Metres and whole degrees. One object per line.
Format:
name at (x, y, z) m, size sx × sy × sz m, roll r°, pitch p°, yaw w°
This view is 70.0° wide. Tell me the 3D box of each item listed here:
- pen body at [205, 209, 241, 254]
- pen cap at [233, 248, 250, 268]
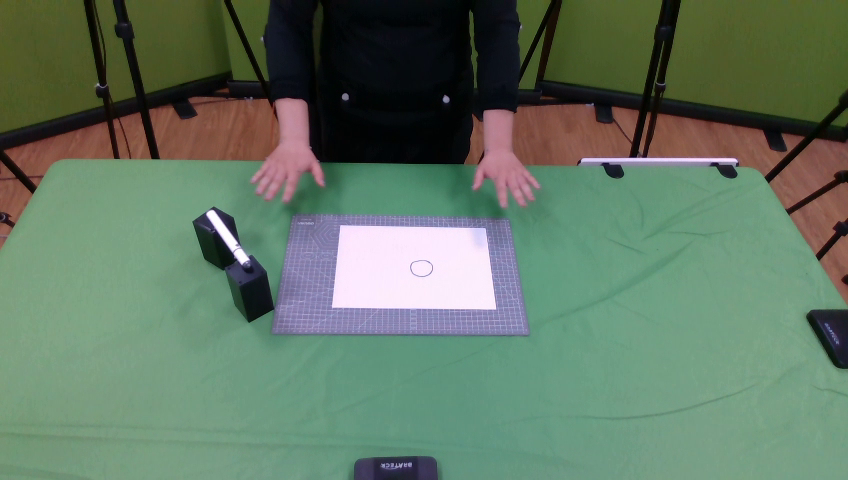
pen body at (-0.340, -0.006, 1.042) m, size 0.017 × 0.017 × 0.143 m, roll -27°, pitch 53°, yaw -27°
pen cap at (-0.303, 0.031, 1.008) m, size 0.017 × 0.017 × 0.038 m, roll -28°, pitch 55°, yaw -28°
